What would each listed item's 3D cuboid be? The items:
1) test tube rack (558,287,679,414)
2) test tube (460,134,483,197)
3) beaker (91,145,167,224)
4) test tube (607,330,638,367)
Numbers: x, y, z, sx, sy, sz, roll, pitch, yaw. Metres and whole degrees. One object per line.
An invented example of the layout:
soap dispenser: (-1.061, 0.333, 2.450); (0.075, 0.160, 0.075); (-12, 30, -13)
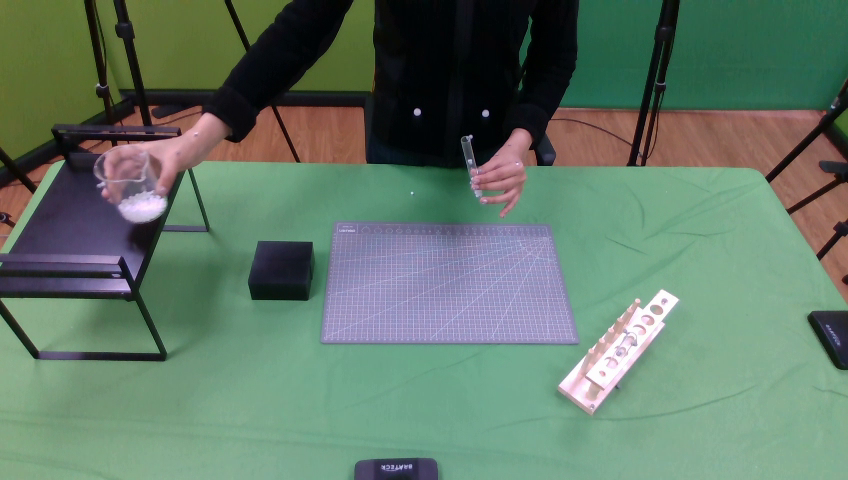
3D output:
test tube rack: (0.326, 0.170, 1.009); (0.066, 0.085, 0.242); (36, 54, 27)
test tube: (0.082, -0.122, 1.024); (0.017, 0.151, 0.017); (-7, 55, 11)
beaker: (-0.429, -0.077, 0.898); (0.083, 0.101, 0.074); (31, 59, 21)
test tube: (0.292, 0.184, 0.924); (0.017, 0.151, 0.017); (4, 49, -4)
